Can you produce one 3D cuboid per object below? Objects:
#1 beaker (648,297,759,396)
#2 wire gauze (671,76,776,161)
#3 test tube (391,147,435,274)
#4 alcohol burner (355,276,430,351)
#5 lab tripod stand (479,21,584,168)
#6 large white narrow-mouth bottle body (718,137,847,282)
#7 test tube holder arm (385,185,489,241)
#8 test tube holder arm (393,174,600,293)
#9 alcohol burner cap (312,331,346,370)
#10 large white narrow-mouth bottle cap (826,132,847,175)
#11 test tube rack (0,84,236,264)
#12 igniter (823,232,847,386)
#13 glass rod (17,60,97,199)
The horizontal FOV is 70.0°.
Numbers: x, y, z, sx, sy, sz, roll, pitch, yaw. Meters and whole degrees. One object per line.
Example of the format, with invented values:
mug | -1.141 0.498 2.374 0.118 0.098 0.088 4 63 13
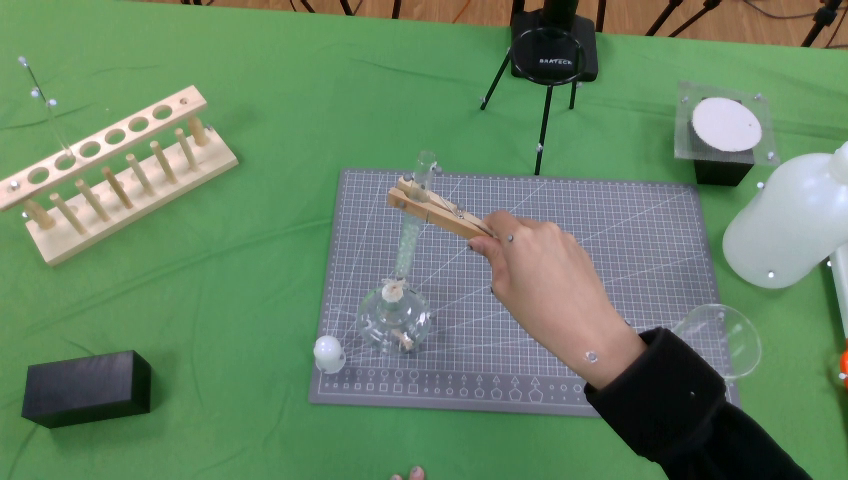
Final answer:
beaker | 0.271 0.110 0.607 0.084 0.101 0.073 8 61 4
wire gauze | 0.368 -0.151 0.752 0.121 0.011 0.124 10 61 4
test tube | -0.011 -0.018 0.500 0.017 0.151 0.017 6 52 -7
alcohol burner | -0.032 0.068 0.615 0.078 0.120 0.077 2 60 -3
lab tripod stand | 0.140 -0.185 0.749 0.148 0.132 0.147 1 62 -2
large white narrow-mouth bottle body | 0.398 -0.038 0.640 0.102 0.196 0.101 1 61 -1
test tube holder arm | 0.011 -0.021 0.475 0.087 0.015 0.010 22 60 8
test tube holder arm | 0.053 -0.006 0.470 0.178 0.015 0.013 27 62 11
alcohol burner cap | -0.101 0.113 0.629 0.034 0.048 0.033 0 63 1
large white narrow-mouth bottle cap | 0.399 -0.081 0.566 0.038 0.024 0.037 1 61 -1
test tube rack | -0.352 -0.079 0.705 0.242 0.086 0.066 -34 67 -18
igniter | 0.471 0.110 0.657 0.057 0.025 0.274 12 61 -6
glass rod | -0.385 -0.106 0.644 0.008 0.201 0.008 3 53 -3
